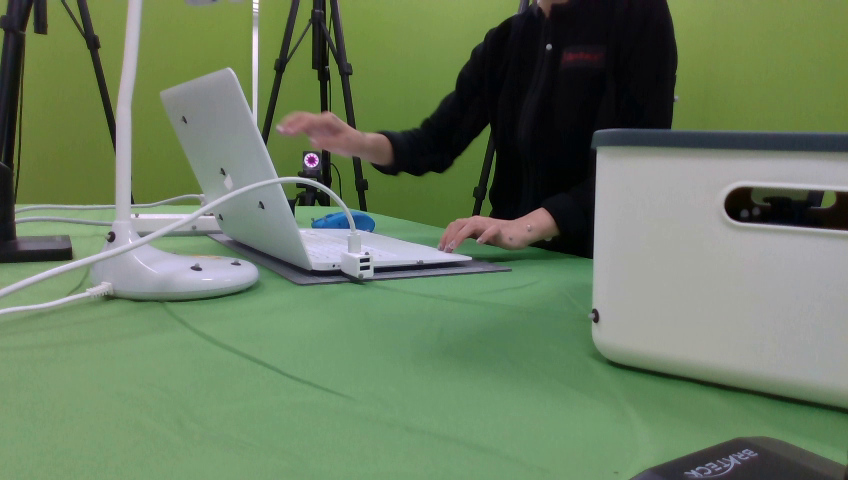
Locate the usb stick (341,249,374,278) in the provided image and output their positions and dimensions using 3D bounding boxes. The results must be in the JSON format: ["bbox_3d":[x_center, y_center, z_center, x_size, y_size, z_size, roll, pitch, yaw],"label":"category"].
[{"bbox_3d":[-0.079,0.026,0.687,0.021,0.027,0.059,-8,9,-30],"label":"usb stick"}]

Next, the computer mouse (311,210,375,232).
[{"bbox_3d":[-0.152,-0.034,1.139,0.118,0.041,0.062,-6,12,-27],"label":"computer mouse"}]

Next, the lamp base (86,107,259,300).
[{"bbox_3d":[-0.254,-0.039,0.603,0.160,0.180,0.179,5,10,18],"label":"lamp base"}]

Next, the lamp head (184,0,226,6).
[{"bbox_3d":[-0.229,-0.320,0.627,0.112,0.112,0.123,6,-35,26],"label":"lamp head"}]

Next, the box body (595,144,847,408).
[{"bbox_3d":[0.309,0.007,0.508,0.253,0.160,0.366,6,8,30],"label":"box body"}]

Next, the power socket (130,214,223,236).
[{"bbox_3d":[-0.397,-0.028,1.048,0.228,0.032,0.072,-3,8,-35],"label":"power socket"}]

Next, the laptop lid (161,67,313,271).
[{"bbox_3d":[-0.256,-0.090,0.782,0.013,0.242,0.355,-29,24,-28],"label":"laptop lid"}]

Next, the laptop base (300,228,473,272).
[{"bbox_3d":[-0.124,0.011,0.889,0.237,0.023,0.352,2,6,-35],"label":"laptop base"}]

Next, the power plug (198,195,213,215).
[{"bbox_3d":[-0.386,-0.055,1.088,0.035,0.052,0.072,-1,6,-24],"label":"power plug"}]

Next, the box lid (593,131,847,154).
[{"bbox_3d":[0.311,-0.067,0.498,0.262,0.015,0.373,6,7,30],"label":"box lid"}]
